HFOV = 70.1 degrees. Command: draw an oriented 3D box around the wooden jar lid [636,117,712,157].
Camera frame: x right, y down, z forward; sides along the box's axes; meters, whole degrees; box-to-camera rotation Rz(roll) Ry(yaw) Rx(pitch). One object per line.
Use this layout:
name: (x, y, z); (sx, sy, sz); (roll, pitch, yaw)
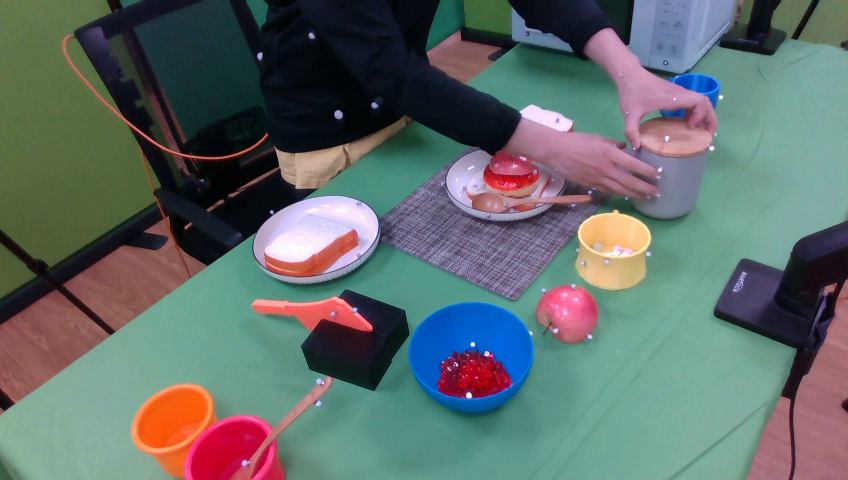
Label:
wooden jar lid: (0.378, -0.153, 0.919); (0.108, 0.021, 0.108); (-2, 41, 2)

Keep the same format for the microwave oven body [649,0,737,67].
microwave oven body: (0.475, -0.602, 1.411); (0.438, 0.261, 0.327); (23, 50, 32)

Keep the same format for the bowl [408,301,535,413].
bowl: (0.060, 0.156, 0.739); (0.151, 0.077, 0.150); (-4, 40, 4)

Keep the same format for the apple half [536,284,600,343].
apple half: (0.196, 0.091, 0.815); (0.075, 0.053, 0.080); (-22, 42, -20)

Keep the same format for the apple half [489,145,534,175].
apple half: (0.144, -0.138, 0.995); (0.081, 0.033, 0.081); (0, 35, 0)

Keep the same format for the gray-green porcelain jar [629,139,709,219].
gray-green porcelain jar: (0.384, -0.106, 0.959); (0.106, 0.127, 0.105); (-4, 41, 4)

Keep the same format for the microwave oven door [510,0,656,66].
microwave oven door: (0.350, -0.539, 1.348); (0.353, 0.245, 0.039); (24, 50, 31)

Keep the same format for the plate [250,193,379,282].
plate: (-0.174, -0.001, 0.984); (0.209, 0.038, 0.208); (-4, 40, 4)

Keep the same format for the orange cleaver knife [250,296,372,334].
orange cleaver knife: (-0.158, 0.103, 0.828); (0.210, 0.078, 0.012); (-4, 43, 39)

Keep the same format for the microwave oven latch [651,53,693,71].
microwave oven latch: (0.533, -0.387, 1.301); (0.078, 0.029, 0.030); (29, 53, 35)

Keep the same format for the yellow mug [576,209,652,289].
yellow mug: (0.279, 0.004, 0.893); (0.099, 0.064, 0.130); (6, 42, 14)

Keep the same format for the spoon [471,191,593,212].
spoon: (0.173, -0.063, 0.975); (0.193, 0.022, 0.041); (-2, 76, 13)

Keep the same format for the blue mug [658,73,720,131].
blue mug: (0.483, -0.250, 1.127); (0.082, 0.106, 0.115); (-26, 44, -19)

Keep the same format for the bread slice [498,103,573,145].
bread slice: (0.230, -0.232, 1.205); (0.105, 0.019, 0.130); (-36, 48, -29)

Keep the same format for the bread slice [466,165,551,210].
bread slice: (0.141, -0.092, 1.043); (0.133, 0.018, 0.107); (10, 42, 19)

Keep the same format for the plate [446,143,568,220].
plate: (0.143, -0.097, 1.045); (0.207, 0.039, 0.206); (-4, 40, 4)

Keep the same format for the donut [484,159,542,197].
donut: (0.149, -0.110, 1.016); (0.099, 0.048, 0.098); (-3, 41, 4)

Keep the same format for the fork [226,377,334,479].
fork: (-0.163, 0.216, 0.647); (0.207, 0.019, 0.028); (-49, 41, 16)
